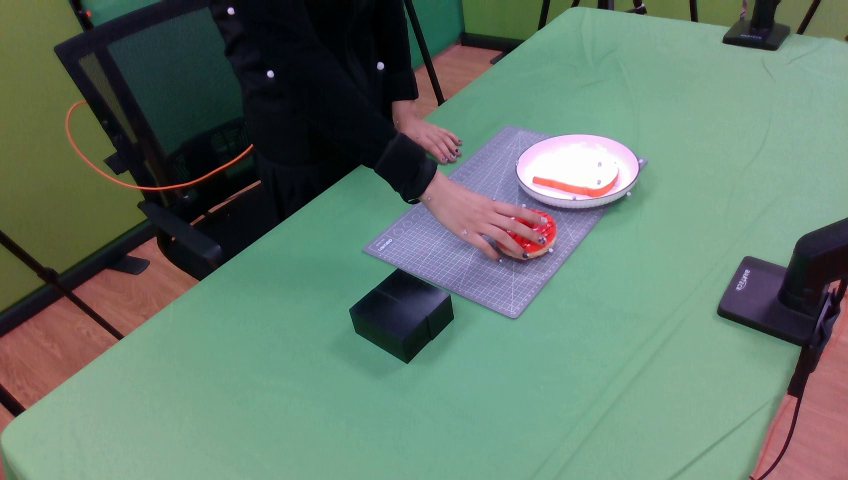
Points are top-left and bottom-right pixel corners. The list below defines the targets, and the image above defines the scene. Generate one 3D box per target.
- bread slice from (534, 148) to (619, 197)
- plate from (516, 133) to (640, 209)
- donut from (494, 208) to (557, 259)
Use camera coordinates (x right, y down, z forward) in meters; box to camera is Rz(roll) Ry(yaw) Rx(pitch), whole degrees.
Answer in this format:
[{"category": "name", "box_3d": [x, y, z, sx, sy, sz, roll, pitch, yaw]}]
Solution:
[{"category": "bread slice", "box_3d": [0.274, -0.119, 1.057, 0.130, 0.019, 0.105, 19, 48, 30]}, {"category": "plate", "box_3d": [0.266, -0.117, 1.055, 0.209, 0.038, 0.208, -5, 40, 5]}, {"category": "donut", "box_3d": [0.159, -0.011, 0.945, 0.099, 0.048, 0.098, -7, 41, 6]}]
